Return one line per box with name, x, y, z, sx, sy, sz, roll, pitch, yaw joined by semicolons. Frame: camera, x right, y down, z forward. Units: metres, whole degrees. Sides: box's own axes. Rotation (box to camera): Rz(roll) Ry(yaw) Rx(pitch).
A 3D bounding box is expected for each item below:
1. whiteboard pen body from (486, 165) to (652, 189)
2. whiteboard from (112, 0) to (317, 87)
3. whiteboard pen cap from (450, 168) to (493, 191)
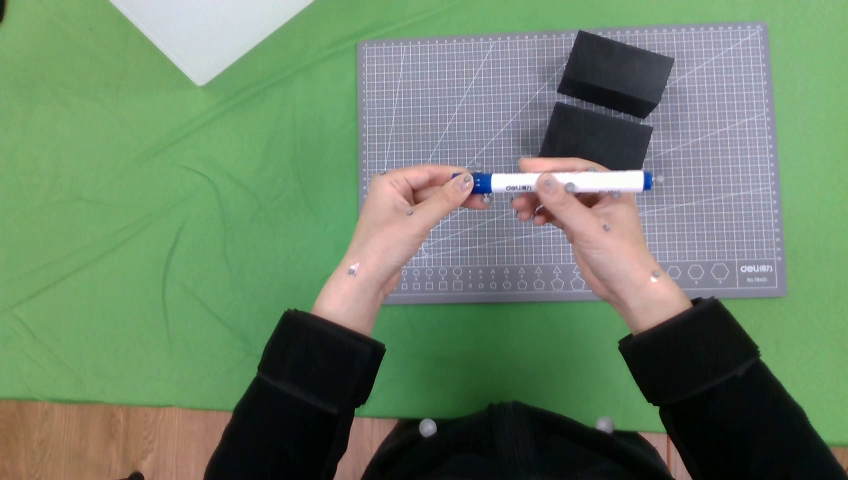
whiteboard pen body;0.094;-0.046;0.448;0.140;0.017;0.017;1;84;14
whiteboard;-0.250;-0.345;0.590;0.217;0.308;0.142;-37;63;1
whiteboard pen cap;0.037;-0.046;0.464;0.033;0.018;0.018;1;85;12
